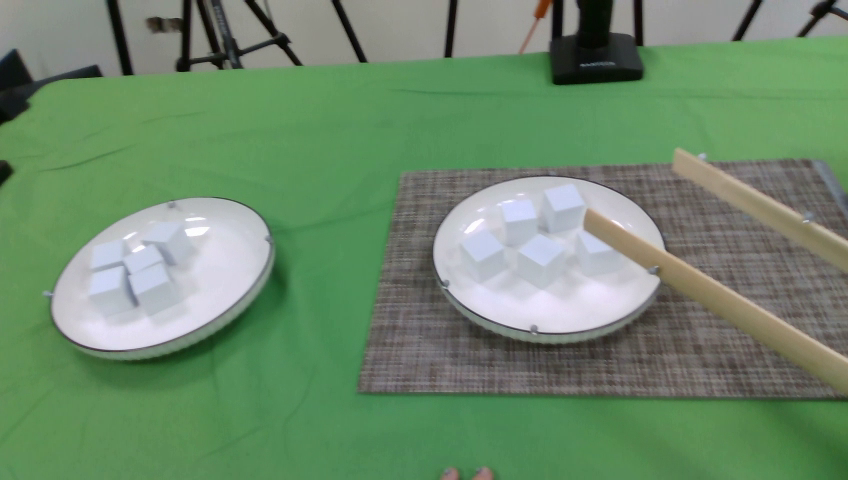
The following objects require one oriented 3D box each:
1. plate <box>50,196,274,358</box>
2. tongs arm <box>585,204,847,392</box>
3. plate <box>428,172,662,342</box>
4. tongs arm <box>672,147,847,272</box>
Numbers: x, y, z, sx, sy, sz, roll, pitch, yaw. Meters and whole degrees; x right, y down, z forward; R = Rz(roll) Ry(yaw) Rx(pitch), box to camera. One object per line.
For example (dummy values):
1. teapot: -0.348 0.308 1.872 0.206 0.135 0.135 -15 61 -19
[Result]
1. plate: -0.248 0.035 0.595 0.209 0.038 0.207 -4 42 4
2. tongs arm: 0.258 0.072 0.371 0.028 0.028 0.383 -33 51 -28
3. plate: 0.108 0.014 0.560 0.207 0.039 0.205 -4 43 4
4. tongs arm: 0.305 0.044 0.392 0.051 0.027 0.380 -30 50 -21
